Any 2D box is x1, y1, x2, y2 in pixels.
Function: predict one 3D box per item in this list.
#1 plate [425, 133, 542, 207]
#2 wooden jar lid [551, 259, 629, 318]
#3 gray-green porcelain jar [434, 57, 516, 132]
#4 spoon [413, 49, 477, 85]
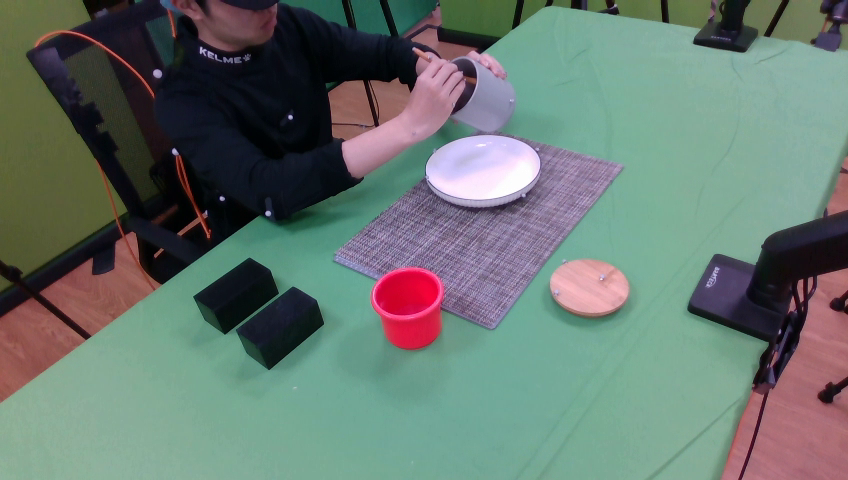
[{"bbox_3d":[0.105,-0.122,1.079,0.207,0.039,0.206,-4,41,4],"label":"plate"},{"bbox_3d":[0.234,0.070,0.857,0.108,0.021,0.108,-5,40,5],"label":"wooden jar lid"},{"bbox_3d":[0.098,-0.260,1.102,0.128,0.106,0.105,12,21,-45],"label":"gray-green porcelain jar"},{"bbox_3d":[0.065,-0.289,1.063,0.195,0.021,0.041,17,35,-22],"label":"spoon"}]
